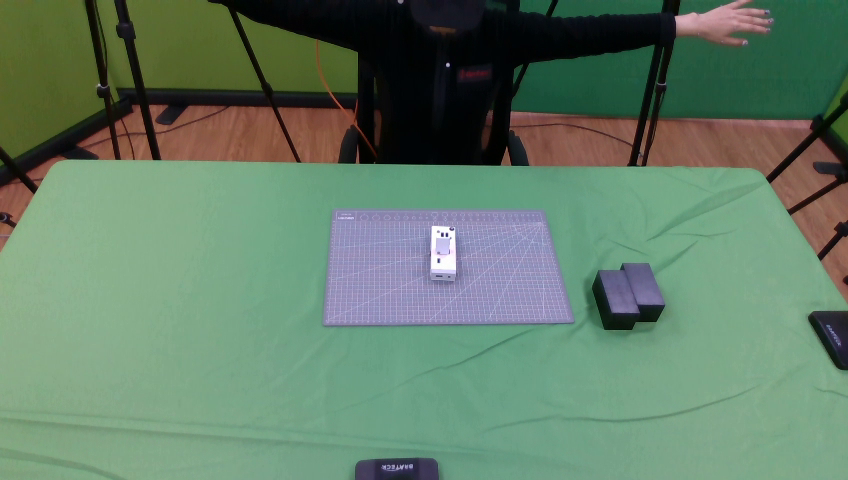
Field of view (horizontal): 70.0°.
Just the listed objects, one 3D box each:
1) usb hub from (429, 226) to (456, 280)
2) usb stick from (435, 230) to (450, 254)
[{"bbox_3d":[0.037,0.024,1.172,0.049,0.025,0.124,3,46,-2],"label":"usb hub"},{"bbox_3d":[0.034,0.009,1.146,0.027,0.059,0.021,3,46,-4],"label":"usb stick"}]
